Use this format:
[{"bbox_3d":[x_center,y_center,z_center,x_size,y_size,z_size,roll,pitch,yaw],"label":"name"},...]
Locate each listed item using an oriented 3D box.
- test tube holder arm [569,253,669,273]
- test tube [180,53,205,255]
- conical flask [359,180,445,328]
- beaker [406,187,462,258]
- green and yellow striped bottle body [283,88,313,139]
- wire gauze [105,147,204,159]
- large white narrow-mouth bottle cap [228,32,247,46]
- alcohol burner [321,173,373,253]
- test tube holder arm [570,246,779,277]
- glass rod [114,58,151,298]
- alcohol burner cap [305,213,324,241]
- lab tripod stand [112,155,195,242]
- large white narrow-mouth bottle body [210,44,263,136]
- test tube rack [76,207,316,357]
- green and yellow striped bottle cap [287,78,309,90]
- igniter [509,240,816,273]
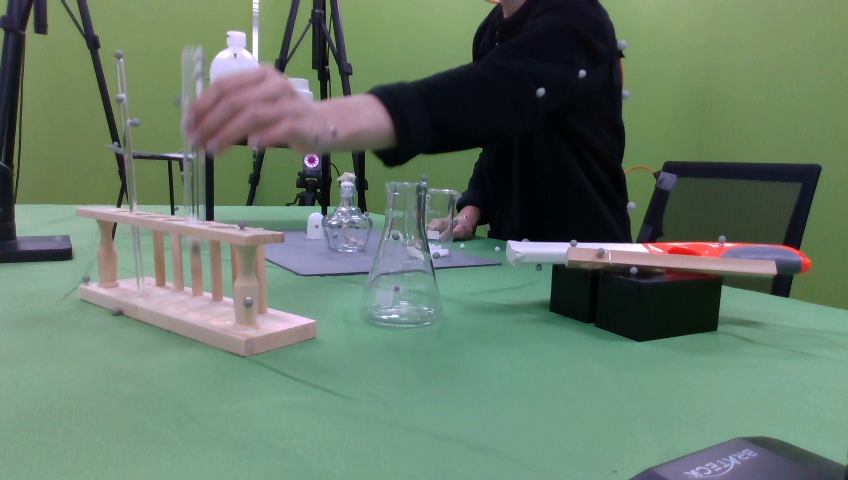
[{"bbox_3d":[0.172,0.019,0.532,0.088,0.015,0.010,3,-24,3],"label":"test tube holder arm"},{"bbox_3d":[-0.173,-0.063,0.453,0.017,0.150,0.017,1,3,0],"label":"test tube"},{"bbox_3d":[-0.017,0.010,0.522,0.075,0.122,0.075,2,7,0],"label":"conical flask"},{"bbox_3d":[0.013,-0.026,0.893,0.084,0.100,0.074,2,8,-2],"label":"beaker"},{"bbox_3d":[-0.266,-0.275,1.275,0.063,0.119,0.063,2,7,0],"label":"green and yellow striped bottle body"},{"bbox_3d":[-0.408,-0.131,0.929,0.125,0.011,0.121,2,6,-11],"label":"wire gauze"},{"bbox_3d":[-0.364,-0.391,1.180,0.038,0.024,0.037,3,8,0],"label":"large white narrow-mouth bottle cap"},{"bbox_3d":[-0.115,-0.040,0.905,0.078,0.119,0.078,1,6,0],"label":"alcohol burner"},{"bbox_3d":[0.217,0.020,0.525,0.178,0.015,0.013,3,-24,2],"label":"test tube holder arm"},{"bbox_3d":[-0.236,-0.044,0.492,0.008,0.199,0.008,0,15,0],"label":"glass rod"},{"bbox_3d":[-0.185,-0.023,1.027,0.034,0.048,0.034,2,7,0],"label":"alcohol burner cap"},{"bbox_3d":[-0.405,-0.064,0.931,0.148,0.131,0.148,1,6,0],"label":"lab tripod stand"},{"bbox_3d":[-0.369,-0.305,1.194,0.102,0.194,0.102,3,8,0],"label":"large white narrow-mouth bottle body"},{"bbox_3d":[-0.196,0.023,0.499,0.241,0.085,0.067,8,9,36],"label":"test tube rack"},{"bbox_3d":[-0.265,-0.326,1.268,0.045,0.020,0.045,4,6,0],"label":"green and yellow striped bottle cap"},{"bbox_3d":[0.220,0.015,0.565,0.277,0.025,0.057,2,17,0],"label":"igniter"}]
